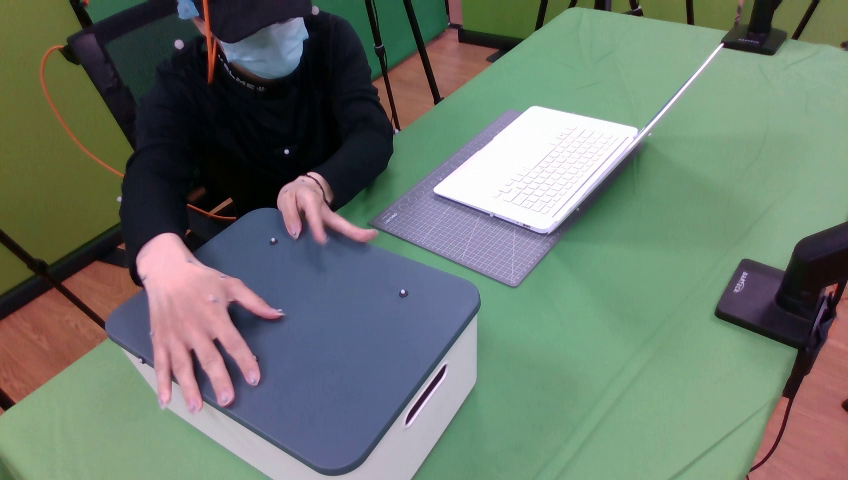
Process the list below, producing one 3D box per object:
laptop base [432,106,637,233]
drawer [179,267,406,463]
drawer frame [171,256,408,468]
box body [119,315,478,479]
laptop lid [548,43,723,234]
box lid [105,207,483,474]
[{"bbox_3d":[0.210,-0.142,1.111,0.233,0.023,0.355,21,48,33],"label":"laptop base"},{"bbox_3d":[-0.163,0.148,0.771,0.210,0.073,0.195,23,47,31],"label":"drawer"},{"bbox_3d":[-0.164,0.141,0.766,0.212,0.083,0.202,25,52,27],"label":"drawer frame"},{"bbox_3d":[-0.140,0.136,0.725,0.361,0.161,0.254,19,47,28],"label":"box body"},{"bbox_3d":[0.336,-0.160,0.956,0.013,0.241,0.358,43,54,8],"label":"laptop lid"},{"bbox_3d":[-0.149,0.080,0.678,0.369,0.015,0.264,20,46,28],"label":"box lid"}]
